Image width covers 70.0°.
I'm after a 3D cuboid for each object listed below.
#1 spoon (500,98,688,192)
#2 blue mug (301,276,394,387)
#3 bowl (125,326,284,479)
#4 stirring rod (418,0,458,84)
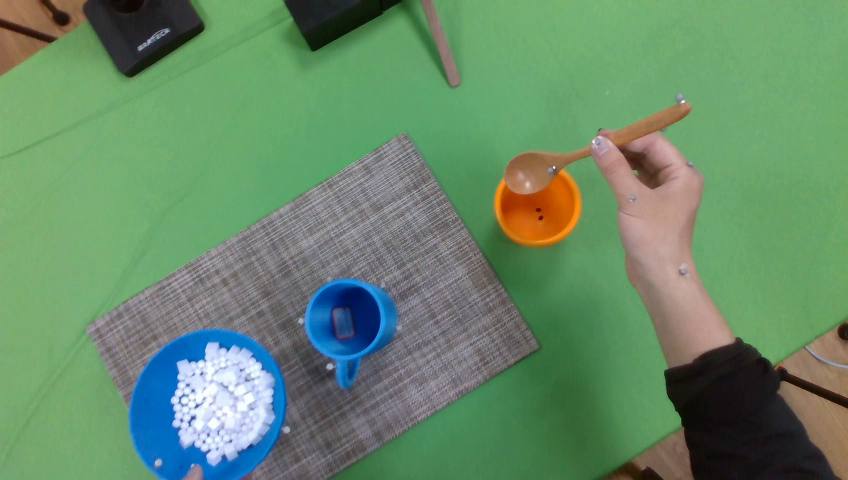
[{"bbox_3d":[0.135,-0.077,0.514,0.021,0.193,0.042,-38,102,-33],"label":"spoon"},{"bbox_3d":[-0.081,0.100,0.653,0.082,0.106,0.116,6,84,4],"label":"blue mug"},{"bbox_3d":[-0.207,0.167,0.609,0.151,0.077,0.150,-1,74,2],"label":"bowl"},{"bbox_3d":[0.004,-0.269,0.708,0.014,0.006,0.177,-23,105,-5],"label":"stirring rod"}]
